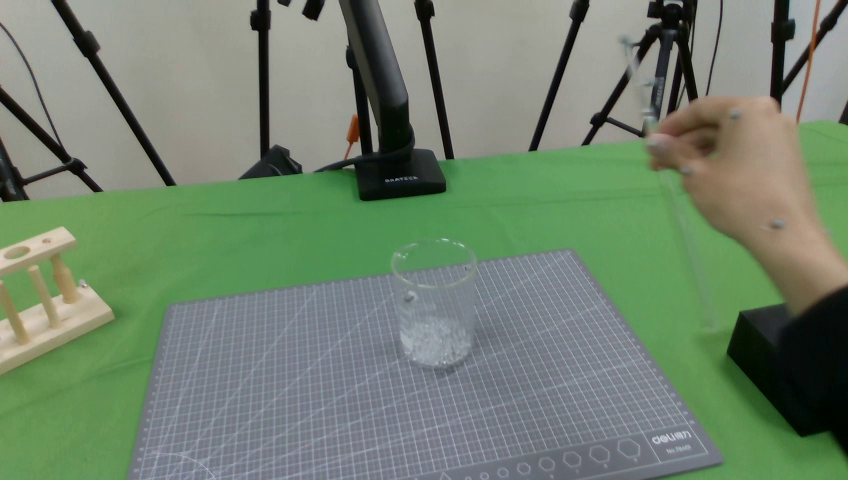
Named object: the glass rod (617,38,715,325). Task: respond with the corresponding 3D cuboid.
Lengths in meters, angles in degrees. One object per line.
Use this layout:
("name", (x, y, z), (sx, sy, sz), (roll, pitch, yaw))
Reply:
("glass rod", (0.161, -0.038, 0.402), (0.008, 0.199, 0.008), (-18, 1, 0))

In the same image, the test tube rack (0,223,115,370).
("test tube rack", (-0.424, 0.079, 0.544), (0.066, 0.086, 0.242), (28, 44, 36))

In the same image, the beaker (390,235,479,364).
("beaker", (0.007, 0.055, 0.548), (0.083, 0.101, 0.074), (24, 41, 33))
